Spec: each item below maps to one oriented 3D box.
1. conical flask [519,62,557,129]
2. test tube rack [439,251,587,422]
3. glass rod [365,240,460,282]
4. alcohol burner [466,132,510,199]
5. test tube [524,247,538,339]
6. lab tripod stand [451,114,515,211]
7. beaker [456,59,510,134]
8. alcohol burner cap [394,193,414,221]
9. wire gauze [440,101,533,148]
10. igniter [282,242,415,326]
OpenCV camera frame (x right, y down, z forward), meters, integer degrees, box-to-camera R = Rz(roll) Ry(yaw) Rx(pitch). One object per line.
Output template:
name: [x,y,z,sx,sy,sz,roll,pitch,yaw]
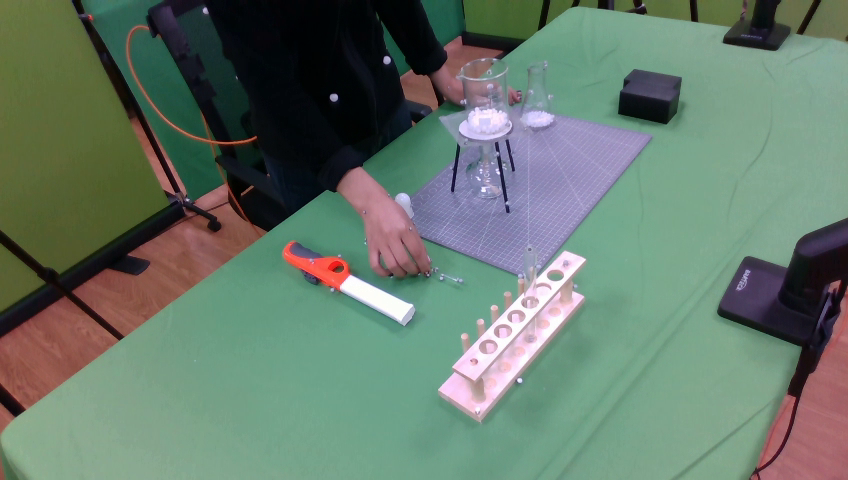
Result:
conical flask: [0.225,-0.287,1.198,0.075,0.122,0.075,-6,40,5]
test tube rack: [0.118,0.111,0.780,0.066,0.085,0.243,26,51,35]
glass rod: [-0.022,0.032,0.961,0.198,0.008,0.008,21,49,35]
alcohol burner: [0.110,-0.132,1.044,0.078,0.119,0.077,-5,38,5]
test tube: [0.133,0.070,0.749,0.017,0.151,0.017,-5,38,4]
lab tripod stand: [0.113,-0.140,1.037,0.148,0.132,0.147,-6,38,5]
beaker: [0.097,-0.226,0.964,0.084,0.101,0.073,-8,39,3]
alcohol burner cap: [-0.036,-0.059,1.041,0.034,0.048,0.033,-5,47,6]
wire gauze: [0.100,-0.189,0.995,0.125,0.011,0.120,-16,37,-6]
igniter: [-0.126,0.062,0.931,0.274,0.025,0.057,23,60,33]
